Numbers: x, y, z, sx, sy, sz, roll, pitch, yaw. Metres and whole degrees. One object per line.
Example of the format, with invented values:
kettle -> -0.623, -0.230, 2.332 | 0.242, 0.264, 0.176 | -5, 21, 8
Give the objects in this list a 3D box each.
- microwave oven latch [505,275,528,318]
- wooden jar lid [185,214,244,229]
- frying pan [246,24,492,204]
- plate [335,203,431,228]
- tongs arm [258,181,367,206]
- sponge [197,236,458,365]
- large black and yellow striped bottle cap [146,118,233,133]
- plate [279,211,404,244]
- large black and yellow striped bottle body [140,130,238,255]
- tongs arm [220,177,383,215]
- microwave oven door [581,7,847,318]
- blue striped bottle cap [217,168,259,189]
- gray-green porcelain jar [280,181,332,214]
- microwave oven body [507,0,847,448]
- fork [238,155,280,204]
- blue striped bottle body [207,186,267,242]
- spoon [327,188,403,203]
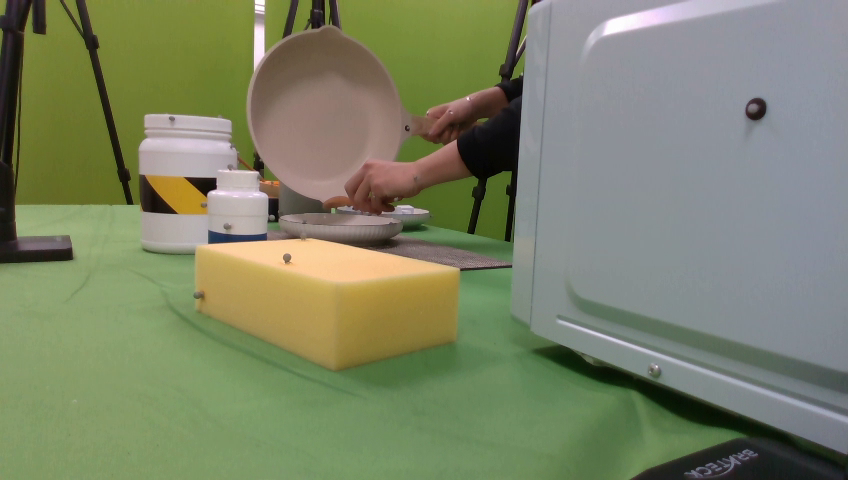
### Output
microwave oven latch -> 0.100, 0.042, 0.472 | 0.079, 0.029, 0.030 | -2, 8, -30
wooden jar lid -> -0.404, -0.037, 1.169 | 0.108, 0.020, 0.108 | 3, 7, 0
frying pan -> -0.083, -0.219, 1.116 | 0.490, 0.306, 0.102 | -1, 6, -26
plate -> -0.089, -0.053, 1.309 | 0.208, 0.039, 0.207 | 2, 8, 0
tongs arm -> -0.241, -0.095, 1.373 | 0.387, 0.026, 0.050 | 8, 0, -37
sponge -> -0.087, 0.039, 0.500 | 0.206, 0.061, 0.119 | 8, 9, 44
large black and yellow striped bottle cap -> -0.333, -0.163, 0.861 | 0.115, 0.019, 0.115 | 1, 9, 0
plate -> -0.139, -0.022, 1.020 | 0.209, 0.038, 0.209 | 3, 8, 0
large black and yellow striped bottle body -> -0.336, -0.078, 0.872 | 0.131, 0.184, 0.130 | 2, 7, 0
tongs arm -> -0.285, -0.103, 1.445 | 0.389, 0.027, 0.028 | 9, -4, -23
microwave oven door -> 0.295, -0.067, 0.569 | 0.358, 0.243, 0.039 | -3, 8, -31
blue striped bottle cap -> -0.202, -0.067, 0.656 | 0.044, 0.020, 0.044 | 0, 10, 0
gray-green porcelain jar -> -0.238, -0.092, 1.221 | 0.106, 0.126, 0.106 | 2, 8, 0
microwave oven body -> 0.331, -0.042, 0.425 | 0.444, 0.260, 0.324 | -2, 8, -31
fork -> -0.396, -0.143, 1.486 | 0.028, 0.018, 0.208 | 20, -26, 45
blue striped bottle body -> -0.204, -0.016, 0.663 | 0.063, 0.120, 0.063 | 2, 7, 0
spoon -> -0.095, -0.069, 0.977 | 0.042, 0.021, 0.192 | 21, -7, -41
